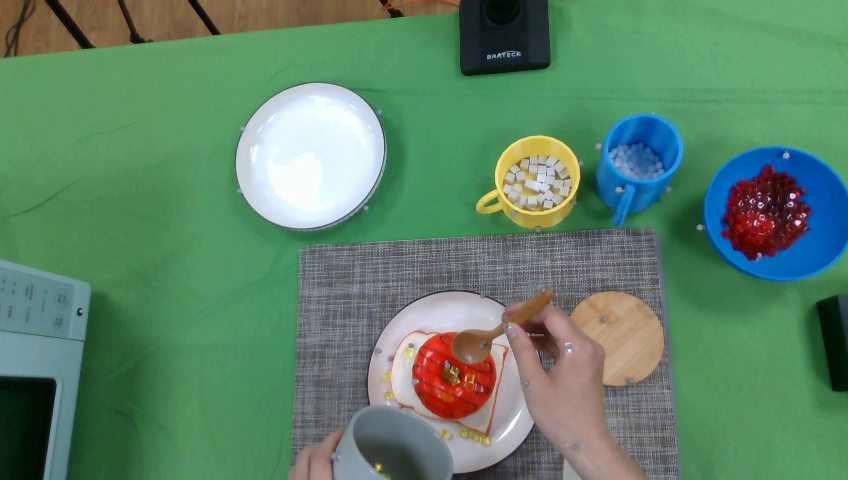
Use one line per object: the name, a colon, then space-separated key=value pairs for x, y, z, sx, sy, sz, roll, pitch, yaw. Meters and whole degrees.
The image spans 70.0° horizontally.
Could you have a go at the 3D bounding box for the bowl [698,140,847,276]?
bowl: x=0.380 y=-0.027 z=0.681 sx=0.151 sy=0.077 sz=0.150 roll=-2 pitch=77 yaw=10

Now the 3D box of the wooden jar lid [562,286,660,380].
wooden jar lid: x=0.216 y=0.108 z=0.703 sx=0.108 sy=0.021 sz=0.108 roll=-2 pitch=78 yaw=9

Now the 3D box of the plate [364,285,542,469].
plate: x=0.034 y=0.158 z=0.713 sx=0.209 sy=0.038 sz=0.208 roll=-2 pitch=77 yaw=9

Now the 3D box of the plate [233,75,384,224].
plate: x=-0.152 y=-0.118 z=0.812 sx=0.207 sy=0.039 sz=0.206 roll=-2 pitch=77 yaw=9

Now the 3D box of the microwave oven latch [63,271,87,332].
microwave oven latch: x=-0.468 y=0.081 z=0.798 sx=0.030 sy=0.029 sz=0.079 roll=1 pitch=78 yaw=10

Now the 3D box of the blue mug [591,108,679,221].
blue mug: x=0.236 y=-0.077 z=0.702 sx=0.082 sy=0.106 sz=0.116 roll=18 pitch=81 yaw=14

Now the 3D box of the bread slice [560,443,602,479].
bread slice: x=0.158 y=0.268 z=0.620 sx=0.018 sy=0.135 sz=0.106 roll=6 pitch=76 yaw=3

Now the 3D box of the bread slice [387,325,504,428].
bread slice: x=0.021 y=0.157 z=0.718 sx=0.131 sy=0.019 sz=0.104 roll=11 pitch=79 yaw=9

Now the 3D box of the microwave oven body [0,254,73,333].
microwave oven body: x=-0.632 y=0.235 z=0.690 sx=0.325 sy=0.262 sz=0.439 roll=-2 pitch=77 yaw=9

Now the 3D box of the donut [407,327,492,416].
donut: x=0.029 y=0.148 z=0.687 sx=0.099 sy=0.048 sz=0.098 roll=-1 pitch=78 yaw=6

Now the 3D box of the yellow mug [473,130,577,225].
yellow mug: x=0.120 y=-0.069 z=0.740 sx=0.131 sy=0.064 sz=0.099 roll=-24 pitch=74 yaw=5

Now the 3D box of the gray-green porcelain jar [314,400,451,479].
gray-green porcelain jar: x=-0.049 y=0.235 z=0.575 sx=0.105 sy=0.106 sz=0.127 roll=34 pitch=110 yaw=16

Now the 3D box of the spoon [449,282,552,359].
spoon: x=0.071 y=0.080 z=0.577 sx=0.041 sy=0.194 sz=0.021 roll=40 pitch=61 yaw=0

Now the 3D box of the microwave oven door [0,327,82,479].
microwave oven door: x=-0.489 y=0.271 z=0.652 sx=0.039 sy=0.245 sz=0.354 roll=-2 pitch=76 yaw=9
